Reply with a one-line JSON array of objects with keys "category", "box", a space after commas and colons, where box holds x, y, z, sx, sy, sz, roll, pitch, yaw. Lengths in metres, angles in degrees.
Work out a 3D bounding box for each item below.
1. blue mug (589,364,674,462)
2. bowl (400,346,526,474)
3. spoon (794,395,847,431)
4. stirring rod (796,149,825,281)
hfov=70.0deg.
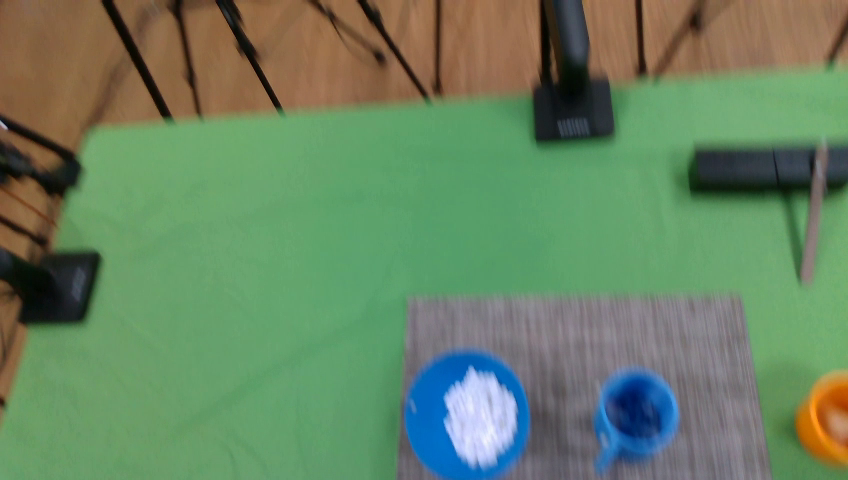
[{"category": "blue mug", "box": [0.229, 0.211, 0.708, 0.081, 0.107, 0.116, 36, 76, 24]}, {"category": "bowl", "box": [0.052, 0.215, 0.753, 0.151, 0.077, 0.150, -4, 64, 8]}, {"category": "spoon", "box": [0.493, 0.194, 0.643, 0.193, 0.022, 0.041, -8, 60, 53]}, {"category": "stirring rod", "box": [0.510, -0.033, 0.799, 0.014, 0.006, 0.176, 9, 88, 8]}]
